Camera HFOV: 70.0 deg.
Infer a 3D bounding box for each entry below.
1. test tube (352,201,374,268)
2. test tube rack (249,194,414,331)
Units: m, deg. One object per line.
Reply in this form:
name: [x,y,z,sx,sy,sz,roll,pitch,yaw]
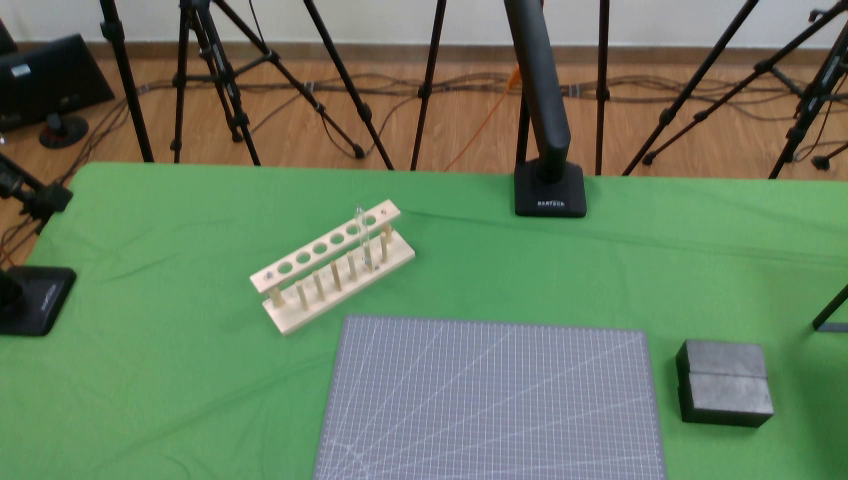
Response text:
test tube: [-0.090,-0.005,0.898,0.017,0.151,0.017,-1,53,2]
test tube rack: [-0.134,0.032,0.928,0.242,0.086,0.066,-31,58,-19]
